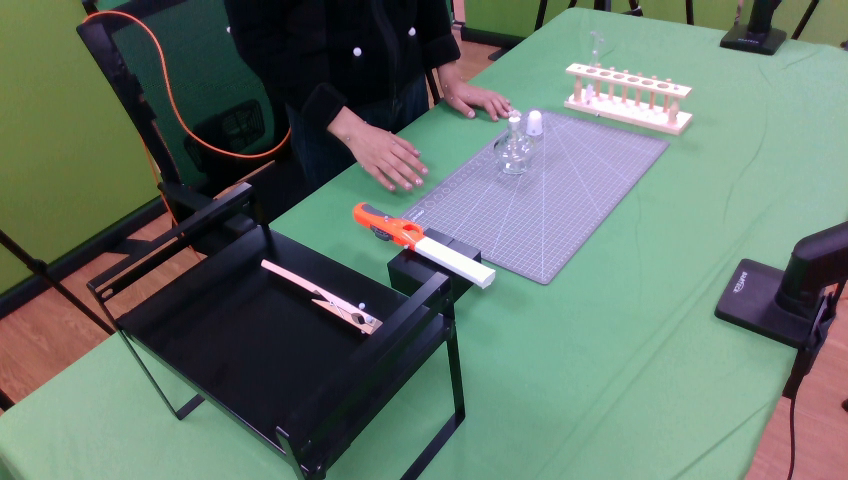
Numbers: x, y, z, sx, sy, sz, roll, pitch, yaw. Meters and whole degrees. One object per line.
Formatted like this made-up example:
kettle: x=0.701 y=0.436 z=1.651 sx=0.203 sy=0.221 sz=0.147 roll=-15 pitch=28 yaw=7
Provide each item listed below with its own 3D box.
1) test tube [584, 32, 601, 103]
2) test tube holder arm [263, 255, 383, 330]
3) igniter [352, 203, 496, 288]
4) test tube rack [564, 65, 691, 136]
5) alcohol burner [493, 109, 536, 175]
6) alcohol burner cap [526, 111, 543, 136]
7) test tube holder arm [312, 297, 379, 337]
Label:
test tube: x=0.333 y=-0.338 z=1.198 sx=0.017 sy=0.151 sz=0.017 roll=-3 pitch=45 yaw=3
test tube holder arm: x=-0.113 y=0.054 z=0.647 sx=0.177 sy=0.015 sz=0.013 roll=26 pitch=80 yaw=33
igniter: x=-0.011 y=0.002 z=0.899 sx=0.274 sy=0.025 sz=0.057 roll=27 pitch=44 yaw=33
test tube rack: x=0.404 y=-0.288 z=1.204 sx=0.240 sy=0.085 sz=0.067 roll=24 pitch=49 yaw=32
alcohol burner: x=0.163 y=-0.179 z=1.087 sx=0.078 sy=0.119 sz=0.077 roll=-5 pitch=38 yaw=4
alcohol burner cap: x=0.219 y=-0.232 z=1.196 sx=0.034 sy=0.048 sz=0.033 roll=-4 pitch=40 yaw=4
test tube holder arm: x=-0.082 y=0.075 z=0.622 sx=0.087 sy=0.015 sz=0.010 roll=27 pitch=80 yaw=33
